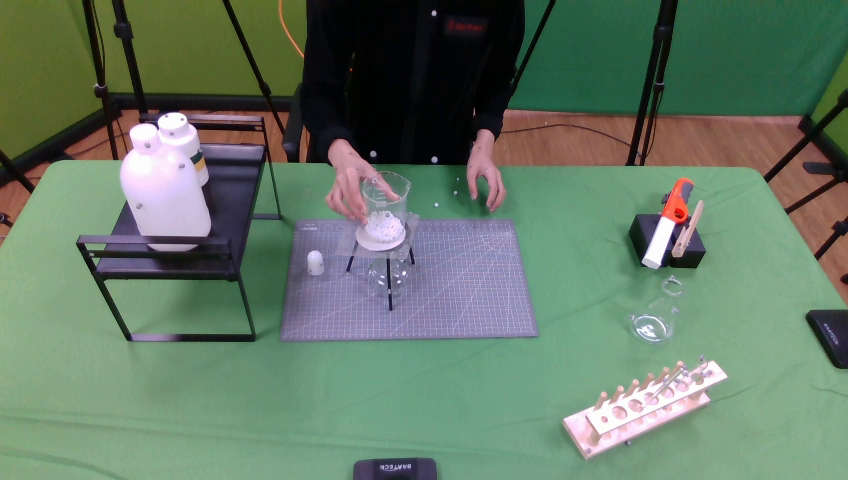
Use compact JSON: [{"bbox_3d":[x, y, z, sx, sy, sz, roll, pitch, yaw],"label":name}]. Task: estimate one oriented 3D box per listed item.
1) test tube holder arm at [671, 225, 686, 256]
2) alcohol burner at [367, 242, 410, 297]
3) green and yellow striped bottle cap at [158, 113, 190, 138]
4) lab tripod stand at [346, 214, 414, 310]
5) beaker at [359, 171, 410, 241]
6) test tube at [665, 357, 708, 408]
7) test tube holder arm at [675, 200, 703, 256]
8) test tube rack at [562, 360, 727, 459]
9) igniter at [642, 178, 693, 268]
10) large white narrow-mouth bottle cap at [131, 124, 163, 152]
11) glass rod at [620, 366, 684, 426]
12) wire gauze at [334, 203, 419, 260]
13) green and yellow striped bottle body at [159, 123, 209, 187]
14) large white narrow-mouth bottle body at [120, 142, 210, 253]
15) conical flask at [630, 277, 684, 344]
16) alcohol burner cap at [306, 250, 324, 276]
[{"bbox_3d":[0.494,0.001,1.166,0.010,0.015,0.087,1,36,42],"label":"test tube holder arm"},{"bbox_3d":[-0.064,0.047,1.080,0.078,0.120,0.077,1,48,-1],"label":"alcohol burner"},{"bbox_3d":[-0.393,-0.180,0.951,0.045,0.020,0.045,2,44,-2],"label":"green and yellow striped bottle cap"},{"bbox_3d":[-0.075,0.030,1.082,0.148,0.132,0.147,1,47,-1],"label":"lab tripod stand"},{"bbox_3d":[-0.064,-0.054,0.995,0.084,0.101,0.073,-17,53,-19],"label":"beaker"},{"bbox_3d":[0.387,0.215,0.905,0.017,0.151,0.017,1,52,-1],"label":"test tube"},{"bbox_3d":[0.523,-0.025,1.190,0.013,0.015,0.178,1,36,41],"label":"test tube holder arm"},{"bbox_3d":[0.341,0.247,0.940,0.243,0.085,0.066,-16,49,-18],"label":"test tube rack"},{"bbox_3d":[0.488,-0.042,1.205,0.057,0.025,0.276,30,51,11],"label":"igniter"},{"bbox_3d":[-0.371,-0.138,0.812,0.038,0.024,0.037,3,46,-3],"label":"large white narrow-mouth bottle cap"},{"bbox_3d":[0.322,0.227,0.866,0.008,0.200,0.008,5,51,-7],"label":"glass rod"},{"bbox_3d":[-0.079,-0.014,1.030,0.121,0.011,0.124,8,46,6],"label":"wire gauze"},{"bbox_3d":[-0.395,-0.145,0.989,0.063,0.120,0.063,2,46,-2],"label":"green and yellow striped bottle body"},{"bbox_3d":[-0.378,-0.077,0.875,0.102,0.195,0.101,3,46,-3],"label":"large white narrow-mouth bottle body"},{"bbox_3d":[0.408,0.117,1.045,0.075,0.122,0.075,2,46,-2],"label":"conical flask"},{"bbox_3d":[-0.204,0.040,1.125,0.034,0.048,0.033,2,46,-2],"label":"alcohol burner cap"}]
